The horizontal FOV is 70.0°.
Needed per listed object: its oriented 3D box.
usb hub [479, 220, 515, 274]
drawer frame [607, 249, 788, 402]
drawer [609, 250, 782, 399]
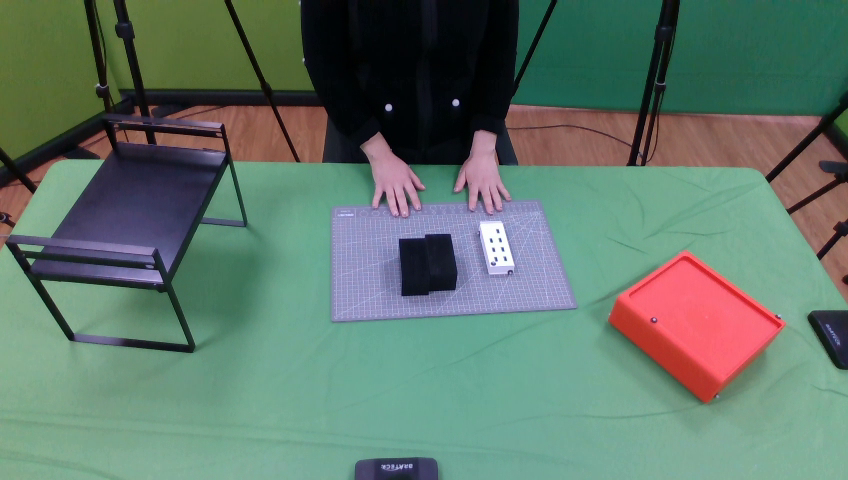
[{"bbox_3d":[0.141,0.013,1.188,0.049,0.025,0.124,-3,46,-6],"label":"usb hub"},{"bbox_3d":[0.470,0.139,1.052,0.202,0.083,0.212,-28,55,-28],"label":"drawer frame"},{"bbox_3d":[0.469,0.140,1.056,0.194,0.073,0.210,-28,55,-27],"label":"drawer"}]
